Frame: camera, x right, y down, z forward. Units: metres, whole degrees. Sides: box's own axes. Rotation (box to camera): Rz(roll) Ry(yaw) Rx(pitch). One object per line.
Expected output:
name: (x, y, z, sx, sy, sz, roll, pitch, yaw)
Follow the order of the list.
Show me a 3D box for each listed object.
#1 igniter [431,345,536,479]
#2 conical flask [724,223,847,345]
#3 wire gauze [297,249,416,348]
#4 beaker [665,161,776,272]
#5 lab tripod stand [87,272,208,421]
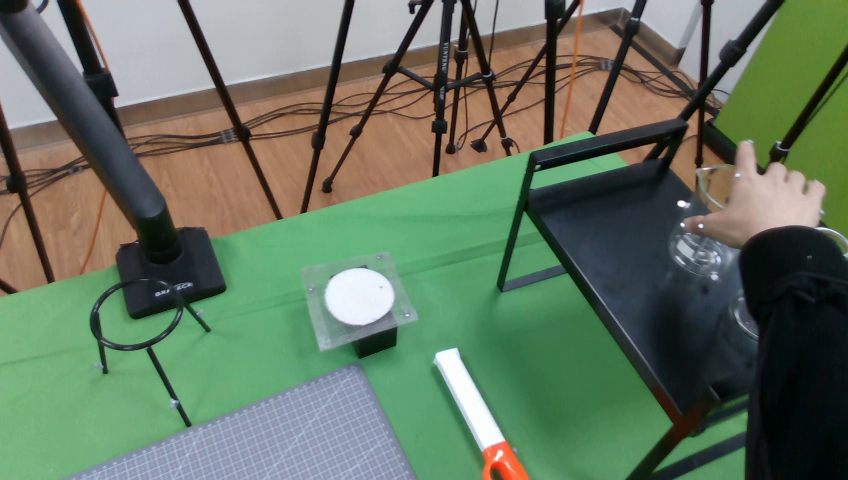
igniter: (0.078, 0.234, 0.672, 0.057, 0.025, 0.273, -9, 51, -27)
conical flask: (0.344, 0.038, 0.568, 0.075, 0.123, 0.074, 4, 49, -4)
wire gauze: (-0.085, 0.065, 0.746, 0.122, 0.011, 0.123, -12, 52, -16)
beaker: (0.299, -0.022, 0.630, 0.074, 0.101, 0.083, -33, 59, -29)
lab tripod stand: (-0.296, 0.112, 0.665, 0.148, 0.132, 0.147, 4, 49, -5)
